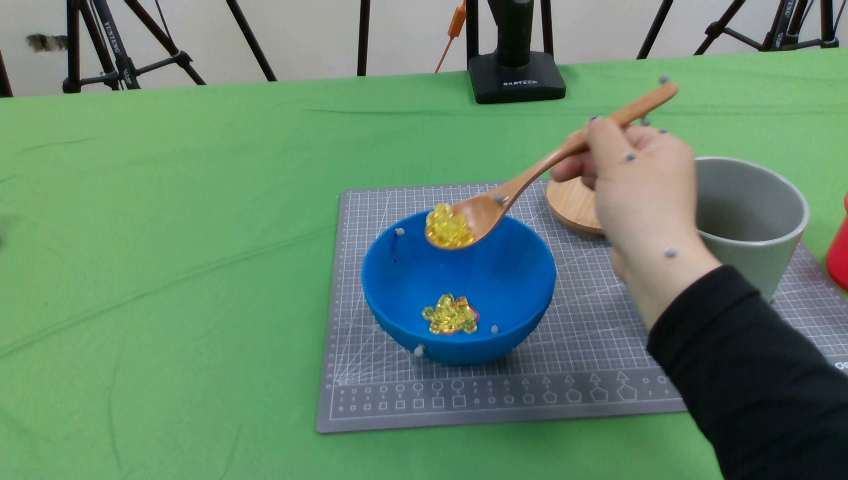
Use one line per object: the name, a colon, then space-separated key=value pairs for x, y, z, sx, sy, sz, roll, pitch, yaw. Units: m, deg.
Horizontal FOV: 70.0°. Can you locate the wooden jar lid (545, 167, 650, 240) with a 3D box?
wooden jar lid: x=0.178 y=-0.037 z=0.622 sx=0.108 sy=0.021 sz=0.107 roll=-2 pitch=41 yaw=2

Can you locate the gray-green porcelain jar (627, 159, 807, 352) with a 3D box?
gray-green porcelain jar: x=0.221 y=0.017 z=0.478 sx=0.106 sy=0.127 sz=0.105 roll=-2 pitch=42 yaw=2

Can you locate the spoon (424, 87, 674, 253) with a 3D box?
spoon: x=0.084 y=-0.048 z=0.413 sx=0.194 sy=0.022 sz=0.041 roll=-34 pitch=47 yaw=10

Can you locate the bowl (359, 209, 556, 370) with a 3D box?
bowl: x=0.027 y=0.051 z=0.488 sx=0.151 sy=0.077 sz=0.150 roll=-1 pitch=42 yaw=2
